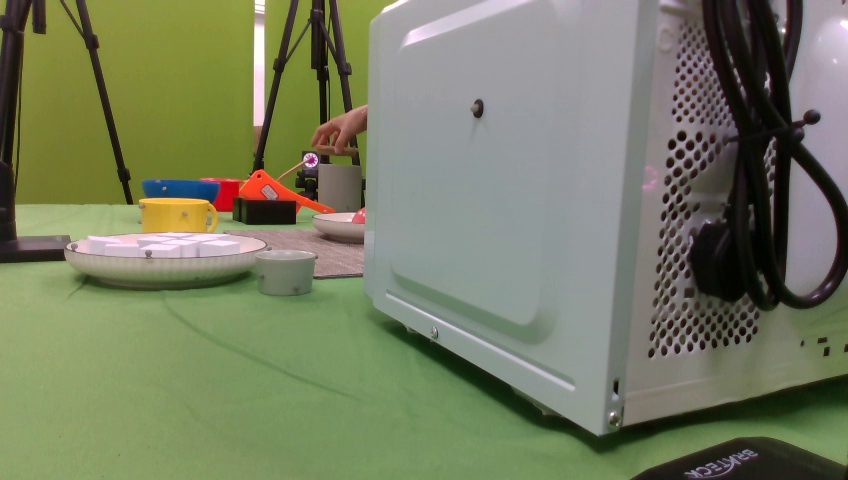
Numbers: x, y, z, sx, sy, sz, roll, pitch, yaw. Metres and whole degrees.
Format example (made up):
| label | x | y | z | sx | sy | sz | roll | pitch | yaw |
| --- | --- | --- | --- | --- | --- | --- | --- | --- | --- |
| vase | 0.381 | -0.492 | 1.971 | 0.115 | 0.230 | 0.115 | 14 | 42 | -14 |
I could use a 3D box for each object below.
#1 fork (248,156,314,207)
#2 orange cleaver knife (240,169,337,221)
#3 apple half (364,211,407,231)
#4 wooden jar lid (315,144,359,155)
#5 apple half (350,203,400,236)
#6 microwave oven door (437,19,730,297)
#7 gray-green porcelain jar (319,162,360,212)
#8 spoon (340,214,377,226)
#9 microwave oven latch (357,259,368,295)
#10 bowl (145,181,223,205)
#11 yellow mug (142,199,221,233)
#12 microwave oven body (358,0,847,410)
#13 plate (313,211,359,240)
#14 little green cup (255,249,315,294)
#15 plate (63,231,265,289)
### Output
| label | x | y | z | sx | sy | sz | roll | pitch | yaw |
| --- | --- | --- | --- | --- | --- | --- | --- | --- | --- |
| fork | -0.360 | -0.147 | 1.523 | 0.207 | 0.019 | 0.028 | -43 | 17 | -6 |
| orange cleaver knife | -0.287 | -0.082 | 1.298 | 0.212 | 0.077 | 0.012 | 25 | -2 | -31 |
| apple half | -0.068 | -0.037 | 1.103 | 0.081 | 0.033 | 0.081 | -1 | 9 | 0 |
| wooden jar lid | -0.213 | -0.221 | 1.481 | 0.108 | 0.020 | 0.108 | 4 | 12 | -1 |
| apple half | -0.081 | -0.036 | 1.024 | 0.081 | 0.053 | 0.074 | -2 | 11 | -34 |
| microwave oven door | 0.181 | -0.076 | 0.618 | 0.358 | 0.243 | 0.039 | -2 | 9 | -28 |
| gray-green porcelain jar | -0.204 | -0.126 | 1.489 | 0.106 | 0.126 | 0.106 | 2 | 7 | 0 |
| spoon | -0.132 | -0.048 | 1.305 | 0.041 | 0.021 | 0.194 | -12 | 4 | 14 |
| microwave oven latch | -0.019 | 0.031 | 0.529 | 0.079 | 0.029 | 0.030 | -1 | 7 | -26 |
| bowl | -0.499 | -0.081 | 1.261 | 0.151 | 0.077 | 0.151 | 2 | 8 | 0 |
| yellow mug | -0.373 | -0.030 | 0.948 | 0.099 | 0.064 | 0.131 | 6 | 7 | 30 |
| microwave oven body | 0.210 | -0.051 | 0.471 | 0.444 | 0.260 | 0.324 | -1 | 7 | -28 |
| plate | -0.091 | -0.026 | 1.063 | 0.209 | 0.038 | 0.209 | 2 | 7 | 0 |
| little green cup | -0.144 | 0.032 | 0.627 | 0.061 | 0.038 | 0.061 | 3 | 7 | 0 |
| plate | -0.288 | 0.021 | 0.687 | 0.208 | 0.039 | 0.207 | 2 | 8 | 0 |
